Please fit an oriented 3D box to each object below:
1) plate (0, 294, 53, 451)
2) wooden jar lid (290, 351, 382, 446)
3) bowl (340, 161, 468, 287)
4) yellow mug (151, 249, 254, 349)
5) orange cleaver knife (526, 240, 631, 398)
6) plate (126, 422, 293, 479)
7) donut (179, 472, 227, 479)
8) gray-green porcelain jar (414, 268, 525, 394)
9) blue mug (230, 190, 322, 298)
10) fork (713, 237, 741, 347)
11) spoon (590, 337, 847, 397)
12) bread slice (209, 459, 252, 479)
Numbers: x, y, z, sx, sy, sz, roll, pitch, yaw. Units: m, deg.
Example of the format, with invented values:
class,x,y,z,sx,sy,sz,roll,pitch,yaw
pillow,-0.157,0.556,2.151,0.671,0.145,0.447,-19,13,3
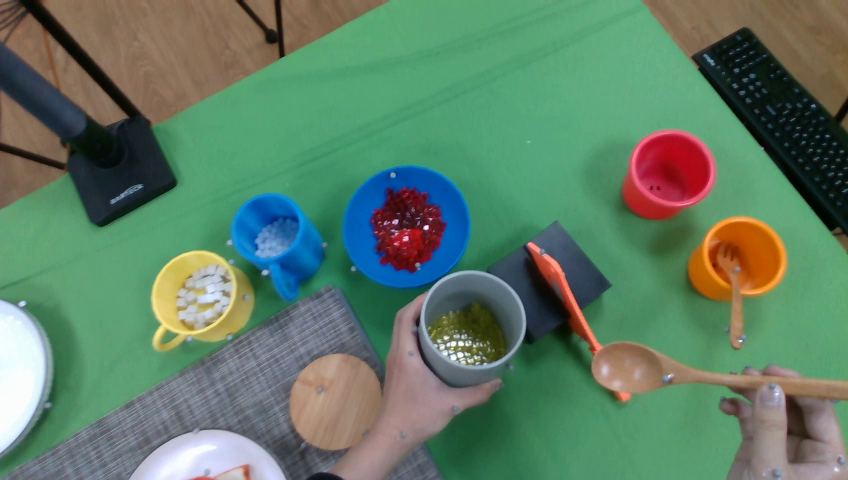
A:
class,x,y,z,sx,sy,sz,roll,pitch,yaw
plate,-0.549,0.167,0.735,0.207,0.039,0.206,-1,74,3
wooden jar lid,-0.102,0.185,0.711,0.108,0.021,0.108,-1,75,3
bowl,-0.020,-0.010,0.736,0.151,0.077,0.150,-1,74,3
yellow mug,-0.276,0.078,0.731,0.099,0.064,0.130,36,80,13
orange cleaver knife,0.175,0.091,0.693,0.012,0.077,0.212,-34,104,-6
plate,-0.237,0.311,0.673,0.209,0.038,0.208,-1,74,3
donut,-0.240,0.300,0.648,0.099,0.048,0.098,0,73,0
gray-green porcelain jar,0.043,0.103,0.649,0.106,0.127,0.105,2,62,-3
blue mug,-0.172,0.013,0.723,0.082,0.106,0.116,-11,74,0
fork,0.334,0.050,0.661,0.028,0.019,0.206,28,33,7
spoon,0.218,0.098,0.442,0.192,0.022,0.041,0,89,36
bread slice,-0.250,0.317,0.676,0.131,0.019,0.104,-17,73,-6
